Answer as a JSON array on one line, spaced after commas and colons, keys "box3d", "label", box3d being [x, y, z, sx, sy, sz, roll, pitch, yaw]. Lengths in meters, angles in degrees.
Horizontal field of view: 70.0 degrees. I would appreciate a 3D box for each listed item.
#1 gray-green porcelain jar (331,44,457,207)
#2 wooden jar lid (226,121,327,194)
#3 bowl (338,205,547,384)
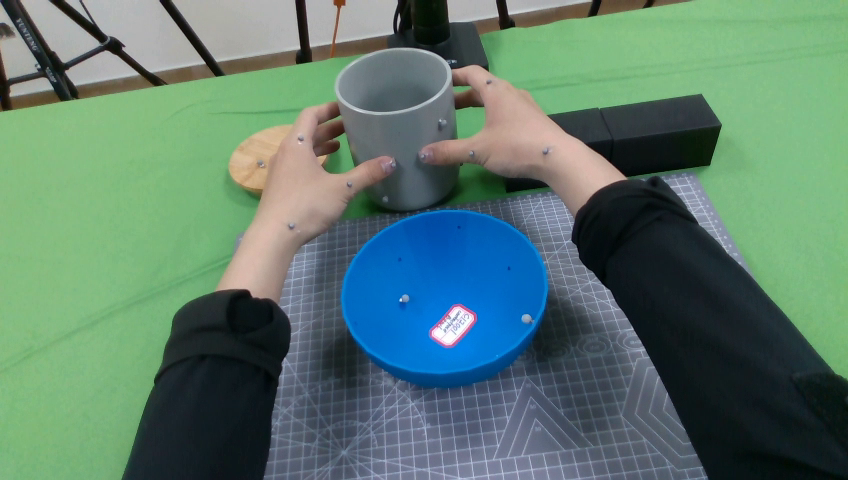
[{"box3d": [-0.023, -0.103, 0.578, 0.106, 0.128, 0.105, -4, 48, 5], "label": "gray-green porcelain jar"}, {"box3d": [-0.158, -0.089, 0.657, 0.108, 0.021, 0.107, -3, 49, 3], "label": "wooden jar lid"}, {"box3d": [0.017, 0.053, 0.462, 0.151, 0.077, 0.150, -4, 48, 5], "label": "bowl"}]
